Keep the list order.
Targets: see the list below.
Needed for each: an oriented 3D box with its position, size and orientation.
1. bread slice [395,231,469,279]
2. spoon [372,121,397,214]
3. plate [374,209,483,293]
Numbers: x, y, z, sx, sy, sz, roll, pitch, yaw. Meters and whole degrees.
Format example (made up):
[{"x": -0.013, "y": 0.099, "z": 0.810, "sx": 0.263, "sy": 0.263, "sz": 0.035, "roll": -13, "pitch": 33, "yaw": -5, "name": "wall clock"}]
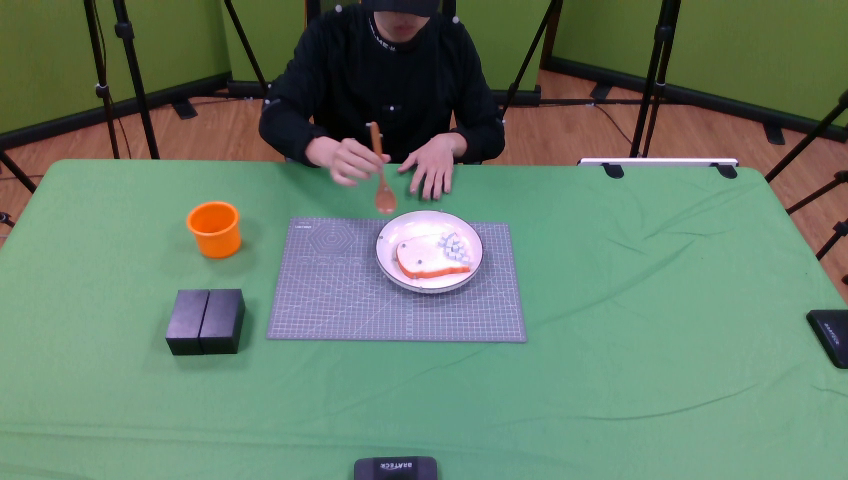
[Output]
[{"x": 0.011, "y": 0.030, "z": 1.158, "sx": 0.132, "sy": 0.019, "sz": 0.104, "roll": -9, "pitch": 47, "yaw": -13, "name": "bread slice"}, {"x": -0.075, "y": -0.128, "z": 1.097, "sx": 0.041, "sy": 0.195, "sz": 0.021, "roll": -3, "pitch": 43, "yaw": 1, "name": "spoon"}, {"x": 0.009, "y": 0.024, "z": 1.160, "sx": 0.209, "sy": 0.038, "sz": 0.208, "roll": 2, "pitch": 46, "yaw": -2, "name": "plate"}]
